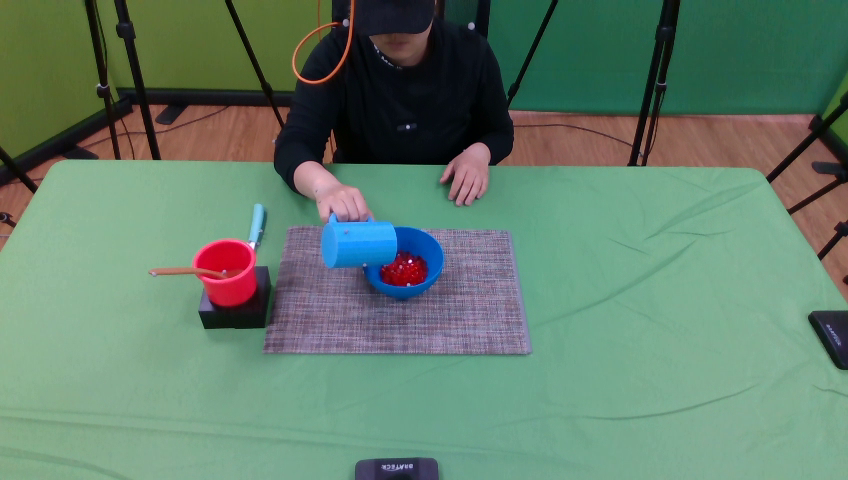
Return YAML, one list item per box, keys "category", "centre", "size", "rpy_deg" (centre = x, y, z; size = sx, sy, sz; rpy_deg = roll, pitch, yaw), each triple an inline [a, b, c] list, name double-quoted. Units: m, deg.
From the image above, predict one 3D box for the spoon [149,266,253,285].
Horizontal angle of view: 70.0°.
- category: "spoon"
  centre: [-0.351, 0.052, 0.968]
  size: [0.041, 0.021, 0.194]
  rpy_deg: [41, 12, 28]

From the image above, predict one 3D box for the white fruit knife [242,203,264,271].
- category: "white fruit knife"
  centre: [-0.334, 0.001, 1.178]
  size: [0.027, 0.016, 0.206]
  rpy_deg: [-18, 46, 16]

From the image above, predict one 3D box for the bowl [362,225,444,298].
- category: "bowl"
  centre: [-0.040, 0.053, 1.099]
  size: [0.151, 0.077, 0.150]
  rpy_deg: [2, 46, -2]

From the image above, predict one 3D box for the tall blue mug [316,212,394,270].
- category: "tall blue mug"
  centre: [-0.119, -0.006, 1.022]
  size: [0.108, 0.078, 0.107]
  rpy_deg: [-5, 76, -37]
